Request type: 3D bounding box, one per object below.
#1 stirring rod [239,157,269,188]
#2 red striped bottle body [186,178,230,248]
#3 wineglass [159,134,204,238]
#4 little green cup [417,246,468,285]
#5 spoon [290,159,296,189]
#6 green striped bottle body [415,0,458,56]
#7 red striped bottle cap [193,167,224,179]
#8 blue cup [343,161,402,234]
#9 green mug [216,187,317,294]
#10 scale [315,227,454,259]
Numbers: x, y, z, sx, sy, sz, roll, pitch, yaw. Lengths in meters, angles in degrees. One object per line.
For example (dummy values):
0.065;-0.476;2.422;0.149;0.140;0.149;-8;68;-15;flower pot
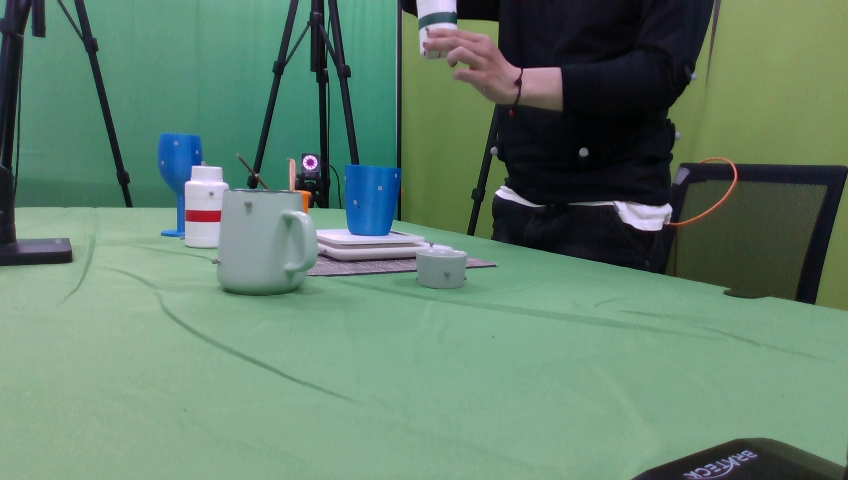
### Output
-0.309;-0.098;1.209;0.006;0.177;0.014;-39;29;-4;stirring rod
-0.331;-0.050;0.927;0.063;0.119;0.063;2;6;0;red striped bottle body
-0.415;-0.093;1.040;0.074;0.172;0.073;2;7;0;wineglass
0.021;0.029;0.701;0.061;0.038;0.061;1;6;0;little green cup
-0.273;-0.102;1.252;0.042;0.193;0.021;7;-38;-17;spoon
0.019;-0.358;0.956;0.063;0.119;0.063;-4;3;1;green striped bottle body
-0.329;-0.103;0.921;0.044;0.017;0.044;0;9;0;red striped bottle cap
-0.078;-0.062;0.884;0.093;0.100;0.092;4;6;0;blue cup
-0.157;0.000;0.629;0.124;0.105;0.093;7;9;37;green mug
-0.066;0.001;0.906;0.202;0.031;0.148;-2;8;-31;scale
